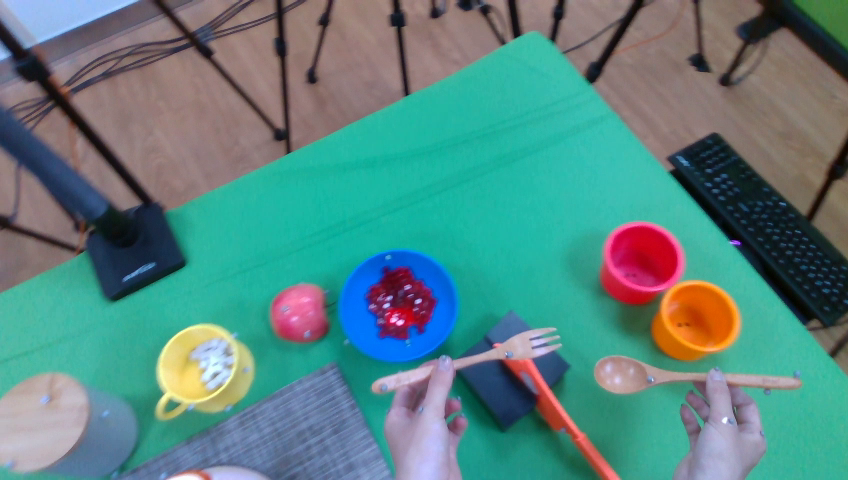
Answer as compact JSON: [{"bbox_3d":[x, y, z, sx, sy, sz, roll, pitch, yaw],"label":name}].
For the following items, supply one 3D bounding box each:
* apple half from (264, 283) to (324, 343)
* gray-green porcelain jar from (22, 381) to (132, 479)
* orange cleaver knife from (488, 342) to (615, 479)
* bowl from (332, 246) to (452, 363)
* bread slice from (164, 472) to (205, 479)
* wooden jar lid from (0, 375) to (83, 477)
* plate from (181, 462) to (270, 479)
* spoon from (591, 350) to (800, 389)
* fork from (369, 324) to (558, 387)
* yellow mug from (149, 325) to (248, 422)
[{"bbox_3d":[-0.176,0.093,0.807,0.074,0.054,0.080,-8,65,2],"label":"apple half"},{"bbox_3d":[-0.419,0.229,0.717,0.106,0.127,0.105,-1,65,3],"label":"gray-green porcelain jar"},{"bbox_3d":[0.149,0.205,0.723,0.012,0.077,0.211,-37,90,-20],"label":"orange cleaver knife"},{"bbox_3d":[-0.038,0.093,0.786,0.151,0.077,0.150,-1,66,3],"label":"bowl"},{"bbox_3d":[-0.247,0.309,0.617,0.105,0.019,0.131,-33,81,-5],"label":"bread slice"},{"bbox_3d":[-0.424,0.202,0.658,0.108,0.021,0.107,-1,62,2],"label":"wooden jar lid"},{"bbox_3d":[-0.239,0.364,0.690,0.207,0.039,0.206,-1,65,2],"label":"plate"},{"bbox_3d":[0.270,0.136,0.617,0.193,0.022,0.041,-3,60,28],"label":"spoon"},{"bbox_3d":[0.044,0.115,0.599,0.208,0.018,0.028,-9,81,-26],"label":"fork"},{"bbox_3d":[-0.294,0.176,0.768,0.099,0.064,0.130,35,72,17],"label":"yellow mug"}]
